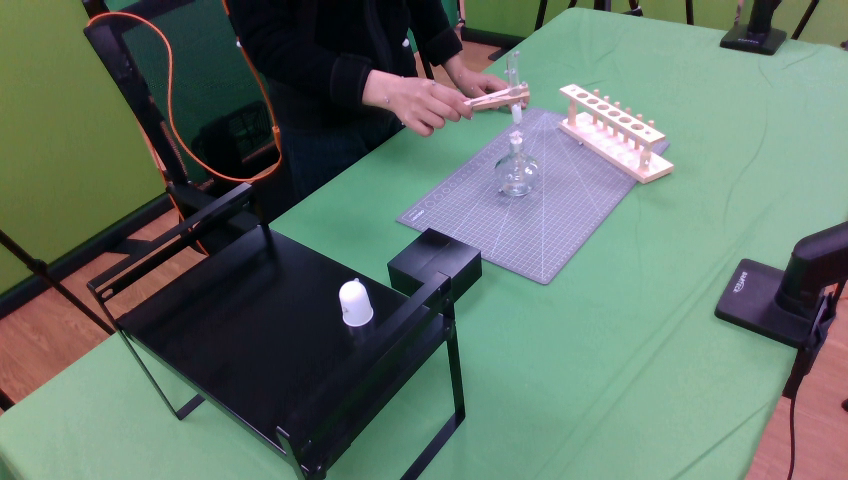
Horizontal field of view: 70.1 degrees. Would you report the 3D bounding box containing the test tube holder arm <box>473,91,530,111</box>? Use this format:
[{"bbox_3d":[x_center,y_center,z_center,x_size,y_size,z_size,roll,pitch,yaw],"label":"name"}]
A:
[{"bbox_3d":[0.118,-0.212,0.923,0.088,0.015,0.010,-8,63,7],"label":"test tube holder arm"}]

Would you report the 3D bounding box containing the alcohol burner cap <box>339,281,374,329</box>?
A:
[{"bbox_3d":[-0.071,0.063,0.617,0.034,0.048,0.033,-4,39,4],"label":"alcohol burner cap"}]

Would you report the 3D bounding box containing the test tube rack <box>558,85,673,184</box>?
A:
[{"bbox_3d":[0.347,-0.203,1.109,0.067,0.085,0.240,-22,42,-17],"label":"test tube rack"}]

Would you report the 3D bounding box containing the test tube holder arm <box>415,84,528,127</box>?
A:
[{"bbox_3d":[0.073,-0.206,0.929,0.178,0.015,0.013,-16,62,4],"label":"test tube holder arm"}]

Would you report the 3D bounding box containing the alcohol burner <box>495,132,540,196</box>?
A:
[{"bbox_3d":[0.160,-0.135,1.035,0.078,0.119,0.077,-5,42,5],"label":"alcohol burner"}]

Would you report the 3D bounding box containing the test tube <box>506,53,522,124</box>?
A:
[{"bbox_3d":[0.137,-0.225,0.916,0.017,0.151,0.017,-5,63,10],"label":"test tube"}]
